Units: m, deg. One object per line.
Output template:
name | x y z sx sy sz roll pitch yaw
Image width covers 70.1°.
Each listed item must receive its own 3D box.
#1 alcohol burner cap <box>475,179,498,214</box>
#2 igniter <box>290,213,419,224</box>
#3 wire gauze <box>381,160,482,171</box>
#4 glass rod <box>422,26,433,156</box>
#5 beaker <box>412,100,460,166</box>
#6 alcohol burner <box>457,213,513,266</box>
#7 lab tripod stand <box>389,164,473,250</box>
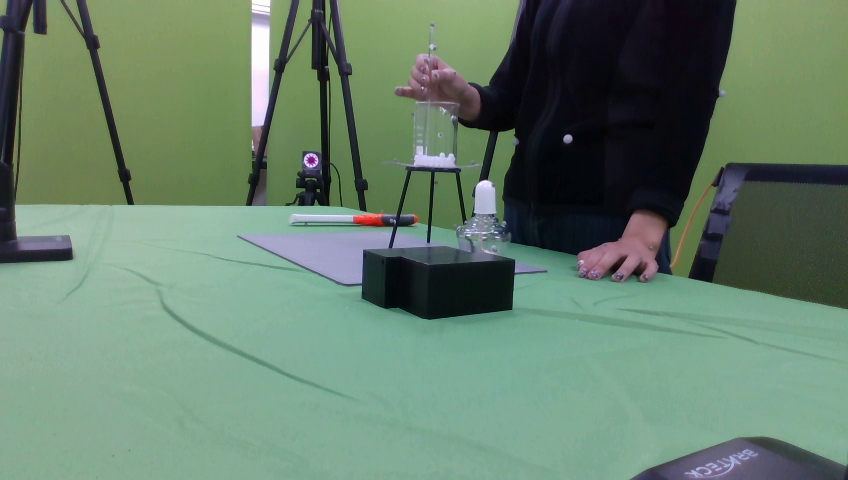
alcohol burner cap | 0.086 -0.061 0.833 0.034 0.048 0.034 0 11 0
igniter | -0.143 -0.046 1.288 0.278 0.025 0.057 -1 -3 -24
wire gauze | 0.011 -0.119 0.951 0.122 0.011 0.124 -5 12 -32
glass rod | 0.006 -0.230 0.935 0.008 0.199 0.008 3 4 0
beaker | 0.020 -0.167 0.953 0.073 0.100 0.084 5 9 26
alcohol burner | 0.084 -0.025 0.837 0.078 0.119 0.078 0 8 0
lab tripod stand | 0.011 -0.054 0.960 0.148 0.131 0.148 2 9 0
